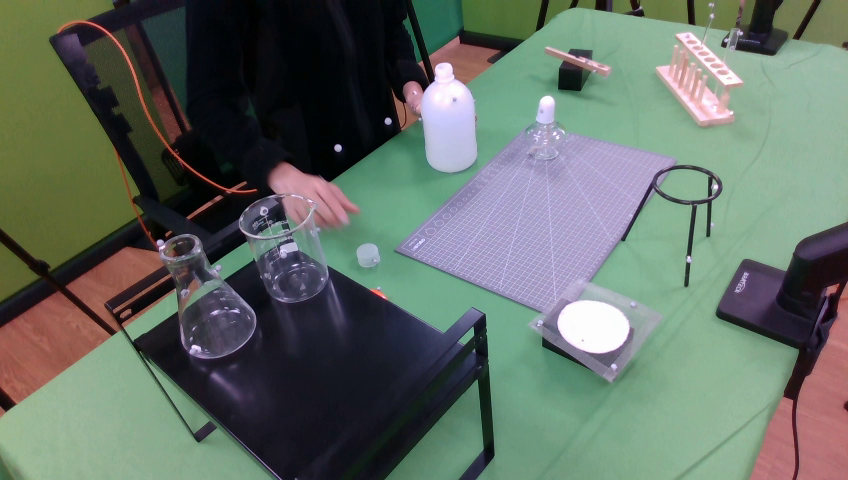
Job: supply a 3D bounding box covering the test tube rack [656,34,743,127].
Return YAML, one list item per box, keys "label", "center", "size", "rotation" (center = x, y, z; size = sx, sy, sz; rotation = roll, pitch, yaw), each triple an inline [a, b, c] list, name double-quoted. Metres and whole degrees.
- label: "test tube rack"
  center: [0.553, -0.330, 1.233]
  size: [0.067, 0.085, 0.241]
  rotation: [-7, 40, 2]

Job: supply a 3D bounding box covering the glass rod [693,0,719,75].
- label: "glass rod"
  center: [0.561, -0.401, 1.214]
  size: [0.008, 0.200, 0.008]
  rotation: [-1, 48, 2]

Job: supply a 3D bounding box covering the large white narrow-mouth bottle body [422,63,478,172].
- label: "large white narrow-mouth bottle body"
  center: [0.047, -0.229, 1.112]
  size: [0.102, 0.195, 0.101]
  rotation: [-4, 41, 4]

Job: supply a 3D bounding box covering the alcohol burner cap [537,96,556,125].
- label: "alcohol burner cap"
  center: [0.223, -0.237, 1.095]
  size: [0.034, 0.048, 0.033]
  rotation: [-1, 42, 1]

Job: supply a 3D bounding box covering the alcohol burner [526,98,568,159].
- label: "alcohol burner"
  center: [0.228, -0.210, 1.118]
  size: [0.078, 0.119, 0.077]
  rotation: [-5, 43, 5]

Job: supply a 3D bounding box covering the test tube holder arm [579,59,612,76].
- label: "test tube holder arm"
  center: [0.363, -0.368, 1.289]
  size: [0.010, 0.015, 0.087]
  rotation: [-26, 43, -30]

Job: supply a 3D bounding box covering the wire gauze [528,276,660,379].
- label: "wire gauze"
  center: [0.213, 0.103, 0.763]
  size: [0.124, 0.011, 0.122]
  rotation: [30, 52, 35]

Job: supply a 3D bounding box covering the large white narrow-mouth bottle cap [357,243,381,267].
- label: "large white narrow-mouth bottle cap"
  center: [-0.088, 0.023, 0.972]
  size: [0.038, 0.024, 0.037]
  rotation: [-4, 41, 4]

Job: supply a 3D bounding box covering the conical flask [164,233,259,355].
- label: "conical flask"
  center: [-0.216, 0.051, 0.601]
  size: [0.075, 0.122, 0.075]
  rotation: [-4, 40, 4]

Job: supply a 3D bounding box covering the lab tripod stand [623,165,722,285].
- label: "lab tripod stand"
  center: [0.365, -0.030, 0.874]
  size: [0.148, 0.132, 0.147]
  rotation: [-6, 41, 6]

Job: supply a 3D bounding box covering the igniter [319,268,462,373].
- label: "igniter"
  center: [-0.059, 0.107, 0.862]
  size: [0.274, 0.025, 0.057]
  rotation: [28, 62, 34]

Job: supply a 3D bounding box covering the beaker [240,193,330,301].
- label: "beaker"
  center: [-0.144, 0.009, 0.656]
  size: [0.084, 0.101, 0.073]
  rotation: [-25, 43, -19]

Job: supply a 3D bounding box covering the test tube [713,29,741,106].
- label: "test tube"
  center: [0.572, -0.324, 1.146]
  size: [0.017, 0.151, 0.017]
  rotation: [-3, 39, 3]

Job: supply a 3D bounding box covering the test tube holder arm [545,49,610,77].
- label: "test tube holder arm"
  center: [0.330, -0.386, 1.314]
  size: [0.013, 0.015, 0.177]
  rotation: [-26, 43, -30]
